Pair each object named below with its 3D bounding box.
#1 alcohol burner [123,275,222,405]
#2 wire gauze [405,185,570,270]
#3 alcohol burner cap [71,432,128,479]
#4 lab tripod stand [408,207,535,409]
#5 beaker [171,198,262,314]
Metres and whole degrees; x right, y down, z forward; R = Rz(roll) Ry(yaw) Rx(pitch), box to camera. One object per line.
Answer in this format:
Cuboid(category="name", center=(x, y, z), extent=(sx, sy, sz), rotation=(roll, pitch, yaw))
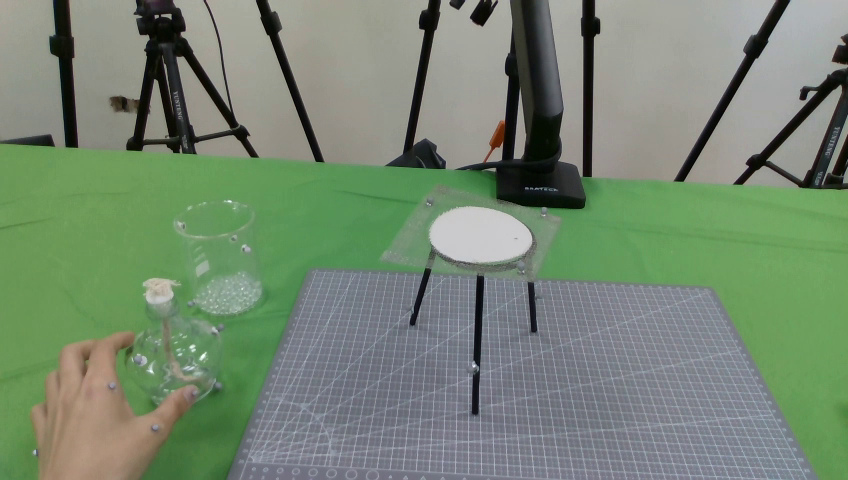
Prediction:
Cuboid(category="alcohol burner", center=(-0.211, 0.078, 0.504), extent=(0.078, 0.120, 0.077), rotation=(2, 32, -1))
Cuboid(category="wire gauze", center=(0.049, -0.016, 0.484), extent=(0.125, 0.011, 0.120), rotation=(8, 28, -4))
Cuboid(category="alcohol burner cap", center=(-0.239, 0.161, 0.441), extent=(0.034, 0.048, 0.033), rotation=(2, 33, -1))
Cuboid(category="lab tripod stand", center=(0.047, 0.051, 0.535), extent=(0.148, 0.132, 0.147), rotation=(3, 35, -1))
Cuboid(category="beaker", center=(-0.204, 0.017, 0.612), extent=(0.074, 0.101, 0.083), rotation=(10, 34, 11))
